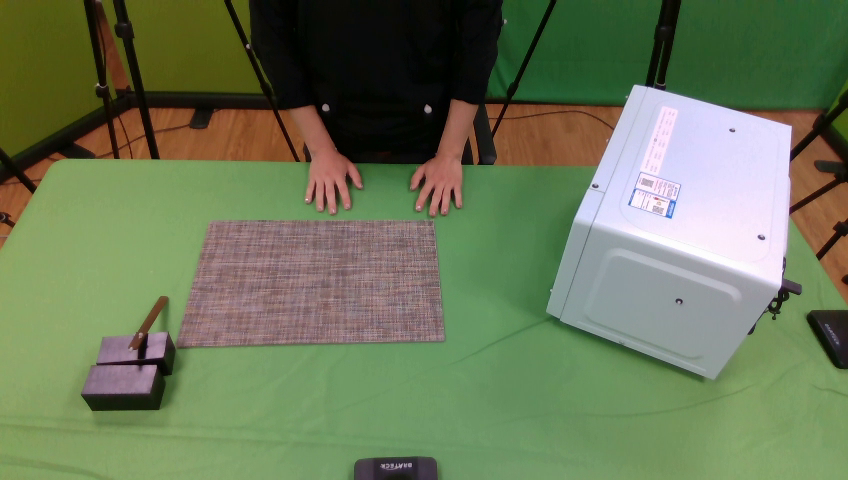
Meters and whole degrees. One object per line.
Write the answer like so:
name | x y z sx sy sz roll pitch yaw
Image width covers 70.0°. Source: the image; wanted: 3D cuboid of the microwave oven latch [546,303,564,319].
microwave oven latch | 0.242 0.102 1.081 0.030 0.029 0.079 21 48 17

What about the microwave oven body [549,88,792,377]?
microwave oven body | 0.456 -0.028 1.088 0.325 0.261 0.440 20 47 16

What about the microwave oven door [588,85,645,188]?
microwave oven door | 0.342 -0.107 1.149 0.039 0.245 0.354 20 48 15

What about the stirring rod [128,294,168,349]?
stirring rod | -0.451 0.131 0.996 0.014 0.006 0.175 9 21 -10
